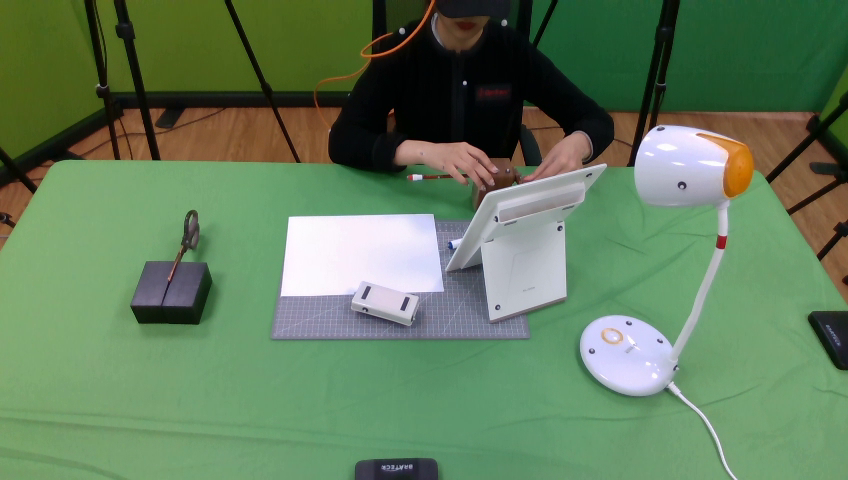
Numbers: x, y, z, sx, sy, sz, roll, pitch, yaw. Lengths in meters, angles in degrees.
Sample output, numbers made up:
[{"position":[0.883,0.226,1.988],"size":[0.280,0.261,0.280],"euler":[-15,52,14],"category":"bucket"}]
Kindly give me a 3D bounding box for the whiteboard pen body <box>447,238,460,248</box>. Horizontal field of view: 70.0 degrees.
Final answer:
[{"position":[0.112,-0.005,1.204],"size":[0.141,0.017,0.017],"euler":[-14,49,-18],"category":"whiteboard pen body"}]

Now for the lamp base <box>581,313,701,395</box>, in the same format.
[{"position":[0.361,0.144,0.973],"size":[0.178,0.181,0.160],"euler":[34,53,23],"category":"lamp base"}]

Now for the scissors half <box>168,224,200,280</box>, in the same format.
[{"position":[-0.440,0.023,1.111],"size":[0.013,0.040,0.174],"euler":[7,29,-6],"category":"scissors half"}]

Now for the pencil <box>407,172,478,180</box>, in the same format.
[{"position":[0.063,-0.133,1.233],"size":[0.194,0.012,0.012],"euler":[-3,47,-5],"category":"pencil"}]

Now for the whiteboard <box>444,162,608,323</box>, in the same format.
[{"position":[0.186,0.025,1.029],"size":[0.217,0.306,0.143],"euler":[-14,68,-18],"category":"whiteboard"}]

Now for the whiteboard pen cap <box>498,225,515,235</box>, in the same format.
[{"position":[0.166,-0.019,1.222],"size":[0.033,0.018,0.018],"euler":[-15,49,-18],"category":"whiteboard pen cap"}]

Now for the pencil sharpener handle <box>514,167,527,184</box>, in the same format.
[{"position":[0.198,-0.127,1.232],"size":[0.031,0.036,0.067],"euler":[-2,34,-6],"category":"pencil sharpener handle"}]

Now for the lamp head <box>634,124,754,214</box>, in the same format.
[{"position":[0.351,-0.089,0.776],"size":[0.112,0.113,0.122],"euler":[-30,30,-28],"category":"lamp head"}]

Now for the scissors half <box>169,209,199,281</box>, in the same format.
[{"position":[-0.438,0.007,1.098],"size":[0.013,0.040,0.174],"euler":[3,48,-3],"category":"scissors half"}]

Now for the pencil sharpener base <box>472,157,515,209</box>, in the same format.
[{"position":[0.145,-0.115,1.259],"size":[0.077,0.107,0.061],"euler":[-2,46,-6],"category":"pencil sharpener base"}]

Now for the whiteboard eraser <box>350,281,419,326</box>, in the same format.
[{"position":[-0.069,0.113,1.065],"size":[0.112,0.042,0.055],"euler":[14,46,9],"category":"whiteboard eraser"}]
